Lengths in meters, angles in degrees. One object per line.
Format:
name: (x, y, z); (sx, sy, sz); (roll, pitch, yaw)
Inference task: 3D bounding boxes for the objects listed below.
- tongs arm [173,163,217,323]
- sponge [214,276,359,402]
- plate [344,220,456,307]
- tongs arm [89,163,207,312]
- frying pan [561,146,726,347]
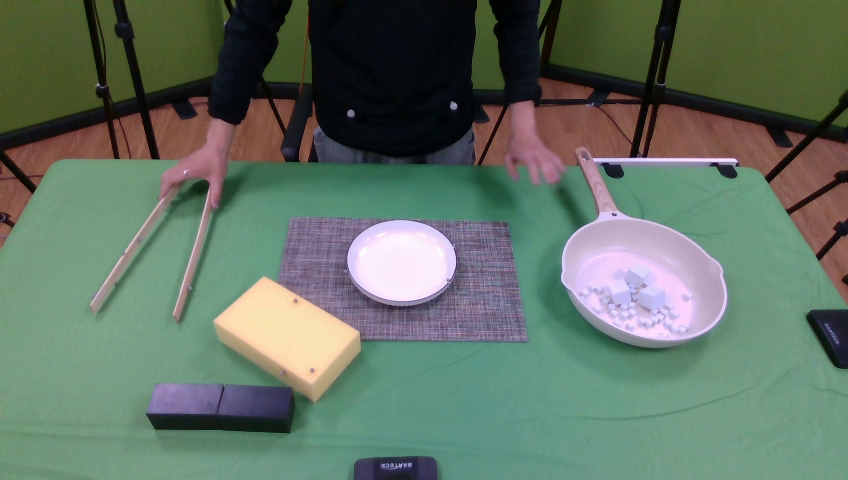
tongs arm: (-0.436, -0.008, 1.159); (0.028, 0.028, 0.385); (-2, 49, -3)
sponge: (-0.224, 0.158, 0.998); (0.206, 0.061, 0.118); (27, 52, 18)
plate: (-0.044, 0.047, 1.133); (0.208, 0.039, 0.206); (3, 46, -2)
tongs arm: (-0.514, -0.019, 1.157); (0.051, 0.026, 0.382); (9, 48, 3)
frying pan: (0.378, -0.005, 1.175); (0.307, 0.103, 0.484); (-4, 55, -9)
